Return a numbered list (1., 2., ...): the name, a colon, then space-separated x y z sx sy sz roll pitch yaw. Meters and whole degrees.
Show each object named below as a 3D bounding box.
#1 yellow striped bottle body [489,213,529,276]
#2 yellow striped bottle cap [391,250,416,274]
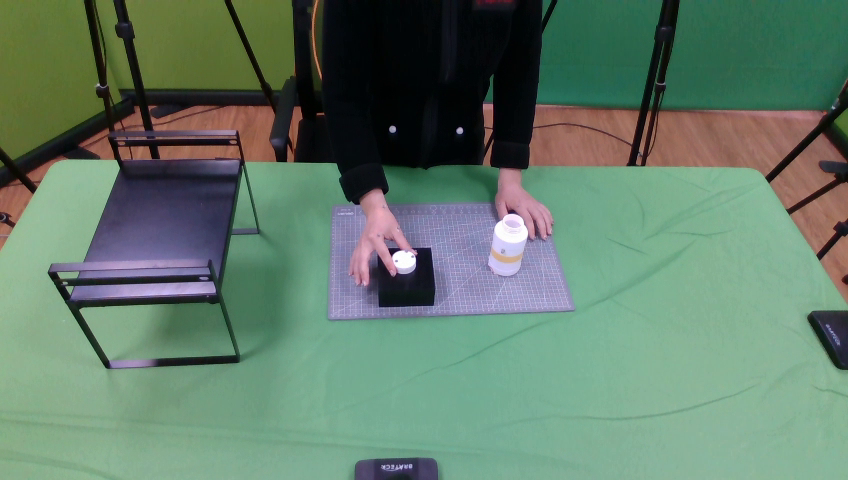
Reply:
1. yellow striped bottle body: 0.159 0.005 1.130 0.063 0.121 0.062 2 46 -2
2. yellow striped bottle cap: -0.037 0.039 1.087 0.044 0.019 0.044 3 47 -3
